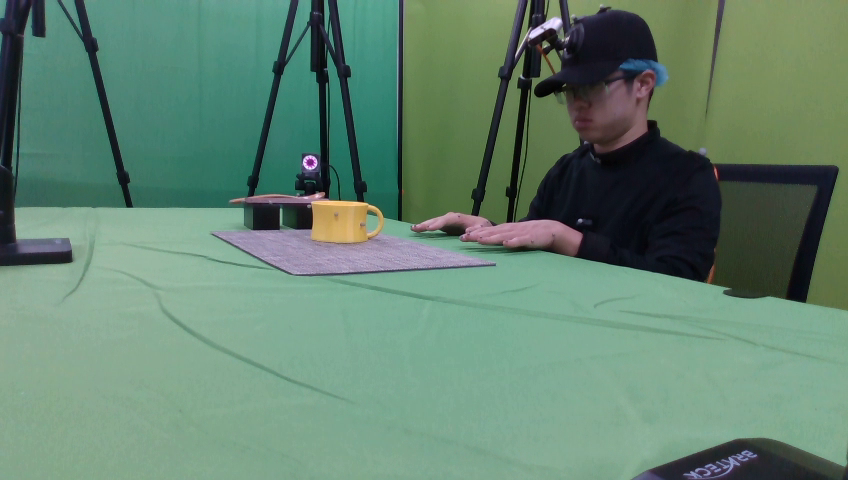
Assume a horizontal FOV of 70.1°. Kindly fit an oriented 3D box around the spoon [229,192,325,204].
[{"bbox_3d":[-0.297,-0.086,1.230,0.195,0.021,0.041,-3,14,-26],"label":"spoon"}]

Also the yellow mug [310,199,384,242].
[{"bbox_3d":[-0.132,-0.035,1.054,0.131,0.064,0.099,0,8,-23],"label":"yellow mug"}]

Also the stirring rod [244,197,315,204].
[{"bbox_3d":[-0.269,-0.078,1.200,0.177,0.006,0.014,-1,41,-35],"label":"stirring rod"}]
